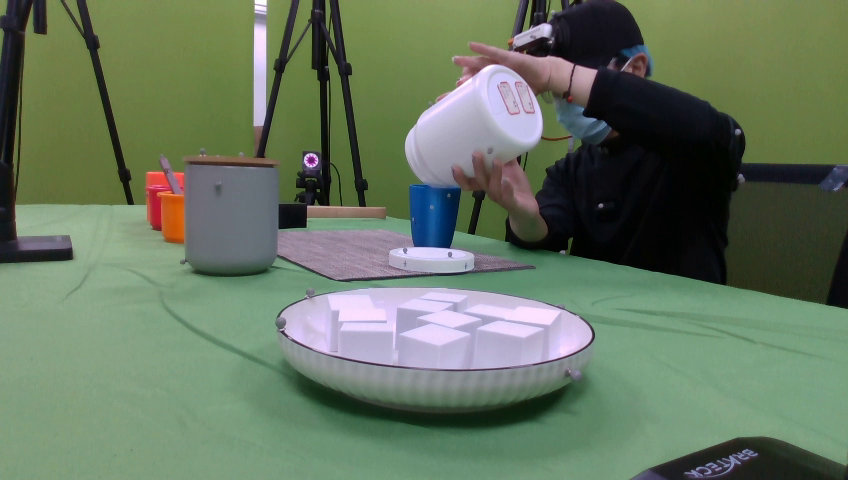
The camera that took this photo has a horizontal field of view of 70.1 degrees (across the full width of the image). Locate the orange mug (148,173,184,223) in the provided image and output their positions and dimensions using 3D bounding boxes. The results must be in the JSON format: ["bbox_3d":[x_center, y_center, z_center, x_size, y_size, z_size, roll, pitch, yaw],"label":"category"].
[{"bbox_3d":[-0.490,-0.087,1.222,0.127,0.101,0.083,-9,13,-38],"label":"orange mug"}]

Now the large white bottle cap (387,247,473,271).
[{"bbox_3d":[0.009,0.025,0.804,0.115,0.018,0.115,2,7,0],"label":"large white bottle cap"}]

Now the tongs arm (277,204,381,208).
[{"bbox_3d":[-0.288,-0.071,1.435,0.389,0.027,0.028,1,0,-17],"label":"tongs arm"}]

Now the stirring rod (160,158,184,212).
[{"bbox_3d":[-0.390,-0.070,0.972,0.014,0.006,0.175,-2,50,-49],"label":"stirring rod"}]

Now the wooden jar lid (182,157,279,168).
[{"bbox_3d":[-0.227,-0.086,0.714,0.108,0.020,0.108,0,6,0],"label":"wooden jar lid"}]

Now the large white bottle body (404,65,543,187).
[{"bbox_3d":[0.068,-0.160,0.901,0.131,0.130,0.184,-5,-14,-43],"label":"large white bottle body"}]

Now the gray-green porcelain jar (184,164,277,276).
[{"bbox_3d":[-0.230,-0.025,0.722,0.106,0.126,0.106,3,7,0],"label":"gray-green porcelain jar"}]

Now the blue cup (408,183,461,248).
[{"bbox_3d":[0.015,-0.038,0.969,0.093,0.100,0.092,3,9,0],"label":"blue cup"}]

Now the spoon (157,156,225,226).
[{"bbox_3d":[-0.425,-0.094,1.117,0.041,0.022,0.194,5,51,29],"label":"spoon"}]

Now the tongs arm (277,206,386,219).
[{"bbox_3d":[-0.251,-0.062,1.360,0.387,0.026,0.050,-1,4,-31],"label":"tongs arm"}]

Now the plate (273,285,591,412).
[{"bbox_3d":[0.005,0.069,0.408,0.208,0.039,0.207,2,7,0],"label":"plate"}]
